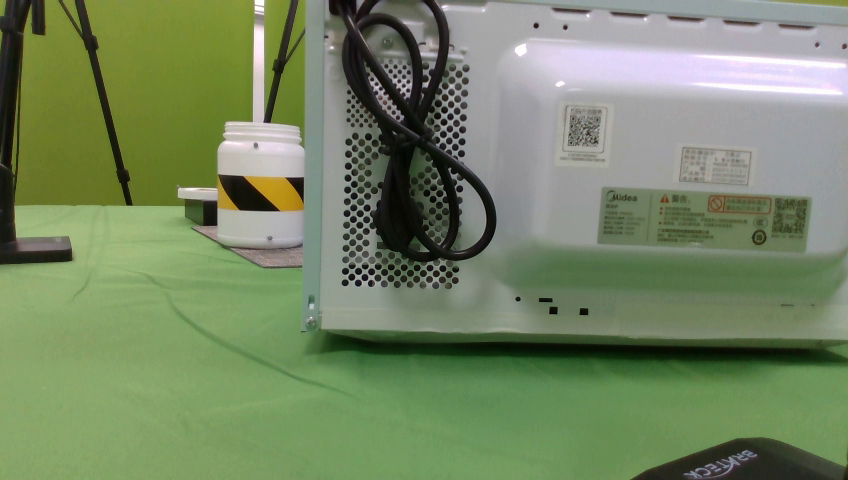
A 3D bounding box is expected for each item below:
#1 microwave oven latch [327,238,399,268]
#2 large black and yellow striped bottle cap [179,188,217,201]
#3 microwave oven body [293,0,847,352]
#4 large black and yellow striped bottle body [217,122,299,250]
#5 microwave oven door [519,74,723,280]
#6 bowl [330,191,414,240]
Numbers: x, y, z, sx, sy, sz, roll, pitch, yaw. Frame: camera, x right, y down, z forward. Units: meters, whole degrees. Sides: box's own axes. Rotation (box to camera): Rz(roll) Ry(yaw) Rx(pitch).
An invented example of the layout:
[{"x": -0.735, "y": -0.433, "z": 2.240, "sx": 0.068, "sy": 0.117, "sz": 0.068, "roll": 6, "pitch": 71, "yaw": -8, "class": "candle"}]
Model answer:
[{"x": -0.069, "y": 0.015, "z": 0.694, "sx": 0.079, "sy": 0.029, "sz": 0.030, "roll": 3, "pitch": 7, "yaw": -3, "class": "microwave oven latch"}, {"x": -0.434, "y": -0.093, "z": 1.226, "sx": 0.115, "sy": 0.019, "sz": 0.115, "roll": 3, "pitch": 9, "yaw": 0, "class": "large black and yellow striped bottle cap"}, {"x": 0.122, "y": -0.055, "z": 0.550, "sx": 0.442, "sy": 0.260, "sz": 0.325, "roll": 3, "pitch": 7, "yaw": -5, "class": "microwave oven body"}, {"x": -0.250, "y": -0.084, "z": 0.931, "sx": 0.131, "sy": 0.184, "sz": 0.130, "roll": 2, "pitch": 7, "yaw": 0, "class": "large black and yellow striped bottle body"}, {"x": 0.255, "y": -0.094, "z": 0.863, "sx": 0.039, "sy": 0.243, "sz": 0.354, "roll": -1, "pitch": 8, "yaw": -25, "class": "microwave oven door"}, {"x": -0.095, "y": -0.044, "z": 1.096, "sx": 0.151, "sy": 0.077, "sz": 0.151, "roll": 3, "pitch": 8, "yaw": 0, "class": "bowl"}]
